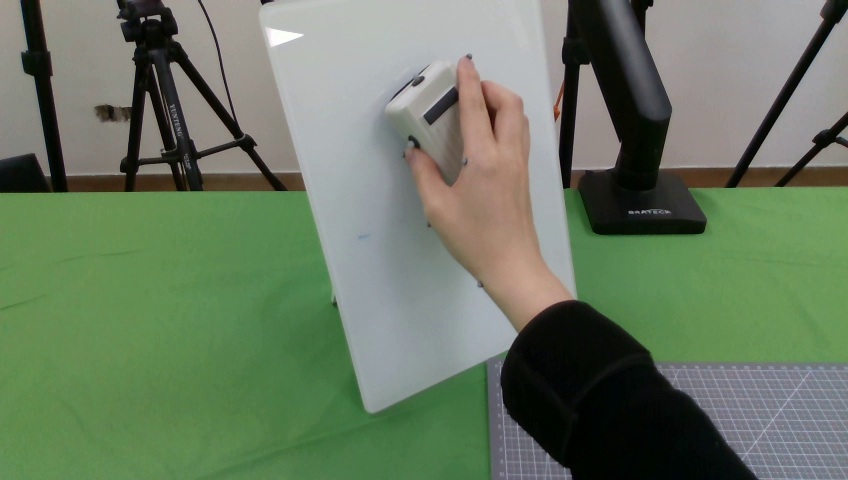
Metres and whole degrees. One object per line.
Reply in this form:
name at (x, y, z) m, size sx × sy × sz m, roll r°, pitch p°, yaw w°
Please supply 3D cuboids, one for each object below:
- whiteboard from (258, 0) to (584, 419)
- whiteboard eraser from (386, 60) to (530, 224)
whiteboard at (-0.009, -0.050, 0.520) m, size 0.218 × 0.307 × 0.142 m, roll -20°, pitch 20°, yaw -23°
whiteboard eraser at (0.025, -0.068, 0.435) m, size 0.055 × 0.113 × 0.041 m, roll -47°, pitch 27°, yaw -14°
